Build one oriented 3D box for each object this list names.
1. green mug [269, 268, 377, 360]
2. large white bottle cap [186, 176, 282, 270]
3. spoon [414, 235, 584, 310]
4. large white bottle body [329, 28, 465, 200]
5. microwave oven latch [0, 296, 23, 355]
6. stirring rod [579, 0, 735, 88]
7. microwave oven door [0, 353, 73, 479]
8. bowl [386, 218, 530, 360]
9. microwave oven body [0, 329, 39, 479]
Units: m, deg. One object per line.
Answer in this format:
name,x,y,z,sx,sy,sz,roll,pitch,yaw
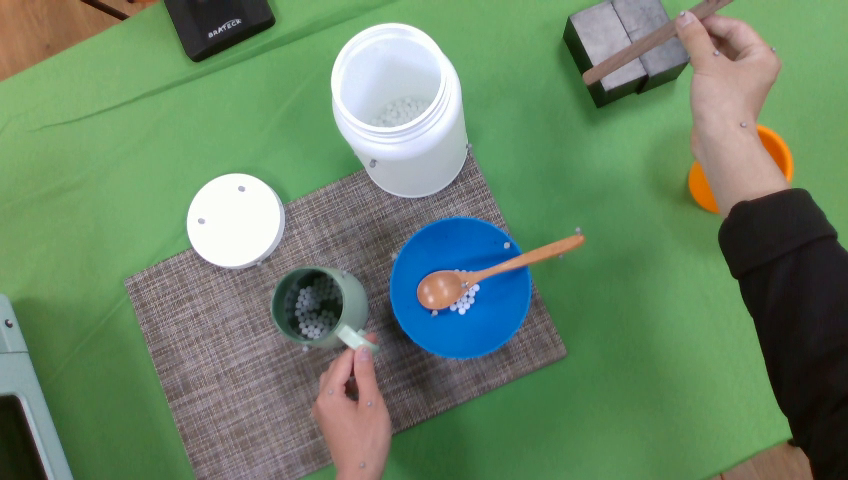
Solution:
green mug,-0.103,0.086,0.662,0.125,0.105,0.092,38,86,9
large white bottle cap,-0.229,-0.021,0.731,0.115,0.018,0.114,-1,81,5
spoon,0.076,0.033,0.640,0.193,0.022,0.041,-21,84,25
large white bottle body,-0.025,-0.128,0.645,0.130,0.185,0.130,-1,78,6
microwave oven latch,-0.504,0.102,0.712,0.030,0.029,0.079,-26,81,0
stirring rod,0.218,-0.188,0.552,0.176,0.006,0.014,-27,94,39
microwave oven door,-0.421,0.280,0.578,0.039,0.244,0.354,-27,80,1
bowl,0.039,0.056,0.668,0.151,0.077,0.151,-1,82,5
microwave oven body,-0.570,0.308,0.591,0.326,0.261,0.440,-26,81,0
